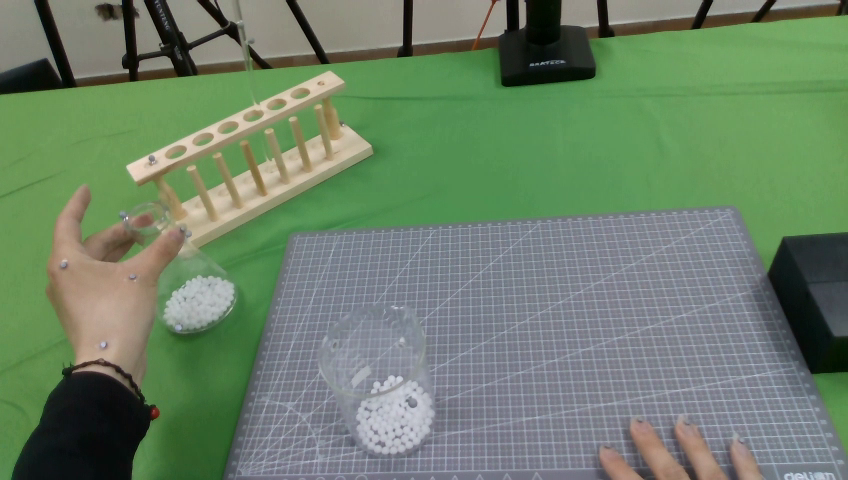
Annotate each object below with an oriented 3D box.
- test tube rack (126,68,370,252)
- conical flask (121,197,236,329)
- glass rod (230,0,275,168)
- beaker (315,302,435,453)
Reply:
[{"bbox_3d":[-0.184,-0.093,0.667,0.242,0.086,0.066,-32,50,-20],"label":"test tube rack"},{"bbox_3d":[-0.224,0.018,0.544,0.075,0.123,0.074,-4,46,4],"label":"conical flask"},{"bbox_3d":[-0.180,-0.162,0.640,0.008,0.201,0.008,-1,39,2],"label":"glass rod"},{"bbox_3d":[-0.030,0.103,0.446,0.073,0.101,0.083,21,53,26],"label":"beaker"}]
